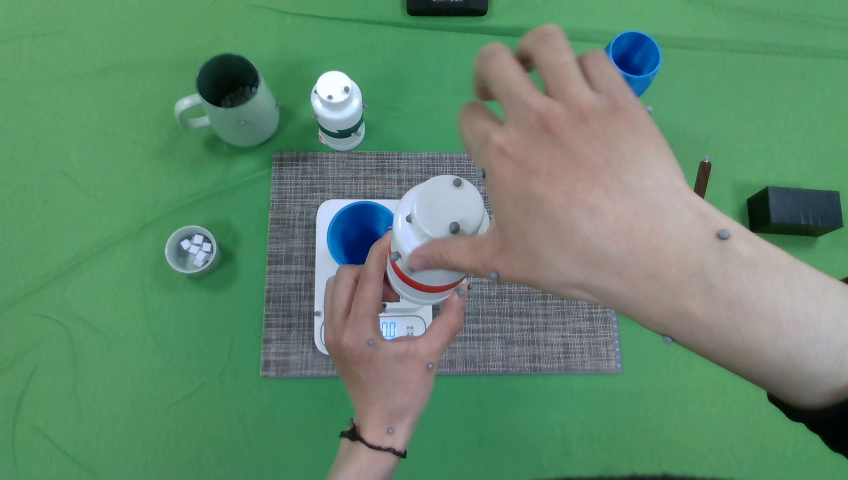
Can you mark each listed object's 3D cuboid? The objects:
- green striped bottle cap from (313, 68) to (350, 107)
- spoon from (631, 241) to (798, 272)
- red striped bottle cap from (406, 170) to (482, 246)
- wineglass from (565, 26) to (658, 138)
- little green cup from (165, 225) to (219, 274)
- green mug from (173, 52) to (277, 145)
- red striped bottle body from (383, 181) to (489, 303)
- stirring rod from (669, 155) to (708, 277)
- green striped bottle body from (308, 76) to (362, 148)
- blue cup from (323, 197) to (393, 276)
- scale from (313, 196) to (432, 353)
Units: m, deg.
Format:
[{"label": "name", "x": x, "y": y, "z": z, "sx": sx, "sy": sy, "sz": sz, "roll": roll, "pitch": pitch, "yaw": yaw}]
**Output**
[{"label": "green striped bottle cap", "x": -0.112, "y": -0.185, "z": 0.734, "sx": 0.044, "sy": 0.020, "sz": 0.044, "roll": 1, "pitch": 74, "yaw": -4}, {"label": "spoon", "x": 0.351, "y": 0.026, "z": 0.748, "sx": 0.022, "sy": 0.192, "sz": 0.041, "roll": 21, "pitch": 79, "yaw": -43}, {"label": "red striped bottle cap", "x": 0.012, "y": -0.019, "z": 0.362, "sx": 0.045, "sy": 0.018, "sz": 0.044, "roll": 3, "pitch": 74, "yaw": -9}, {"label": "wineglass", "x": 0.237, "y": -0.198, "z": 0.784, "sx": 0.074, "sy": 0.173, "sz": 0.073, "roll": 1, "pitch": 75, "yaw": -2}, {"label": "little green cup", "x": -0.291, "y": 0.014, "z": 0.768, "sx": 0.061, "sy": 0.039, "sz": 0.061, "roll": 1, "pitch": 75, "yaw": -4}, {"label": "green mug", "x": -0.260, "y": -0.176, "z": 0.785, "sx": 0.125, "sy": 0.105, "sz": 0.092, "roll": -22, "pitch": 78, "yaw": -8}, {"label": "red striped bottle body", "x": 0.007, "y": 0.000, "z": 0.414, "sx": 0.063, "sy": 0.120, "sz": 0.062, "roll": 3, "pitch": 70, "yaw": -7}, {"label": "stirring rod", "x": 0.331, "y": -0.025, "z": 0.759, "sx": 0.014, "sy": 0.177, "sz": 0.006, "roll": 5, "pitch": 34, "yaw": 11}, {"label": "green striped bottle body", "x": -0.114, "y": -0.171, "z": 0.784, "sx": 0.063, "sy": 0.120, "sz": 0.063, "roll": 1, "pitch": 75, "yaw": -3}, {"label": "blue cup", "x": -0.071, "y": 0.005, "z": 0.717, "sx": 0.093, "sy": 0.100, "sz": 0.092, "roll": 1, "pitch": 78, "yaw": -3}, {"label": "scale", "x": -0.067, "y": 0.041, "z": 0.775, "sx": 0.149, "sy": 0.031, "sz": 0.200, "roll": -1, "pitch": 76, "yaw": -3}]
